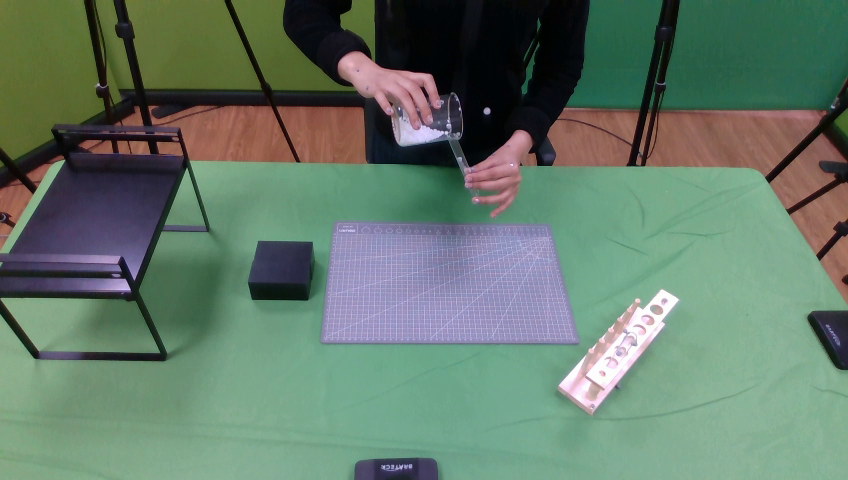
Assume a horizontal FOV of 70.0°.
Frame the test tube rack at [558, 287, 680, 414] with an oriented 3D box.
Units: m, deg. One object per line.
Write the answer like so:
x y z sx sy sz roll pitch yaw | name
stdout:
0.326 0.170 1.009 0.066 0.085 0.242 35 54 27 | test tube rack

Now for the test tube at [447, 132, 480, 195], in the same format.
0.070 -0.127 1.039 0.017 0.151 0.017 -13 50 15 | test tube

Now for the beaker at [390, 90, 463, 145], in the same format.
0.001 -0.187 0.946 0.100 0.084 0.073 -10 52 -11 | beaker

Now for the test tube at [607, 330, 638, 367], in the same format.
0.292 0.184 0.924 0.017 0.151 0.017 4 48 -4 | test tube
